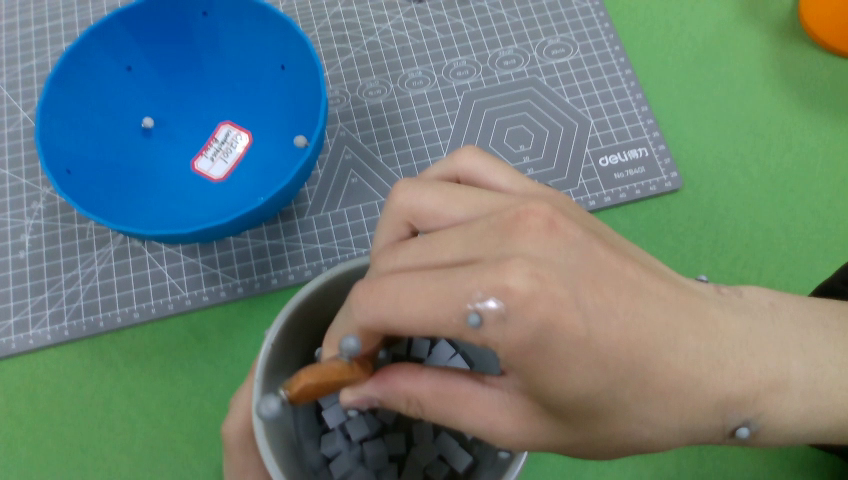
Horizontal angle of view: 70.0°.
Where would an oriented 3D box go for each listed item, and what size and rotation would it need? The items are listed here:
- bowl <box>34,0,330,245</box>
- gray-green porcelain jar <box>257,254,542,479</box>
[{"bbox_3d":[-0.124,-0.058,0.348,0.151,0.077,0.150,0,70,0],"label":"bowl"},{"bbox_3d":[-0.008,0.075,0.279,0.106,0.127,0.105,0,70,1],"label":"gray-green porcelain jar"}]
